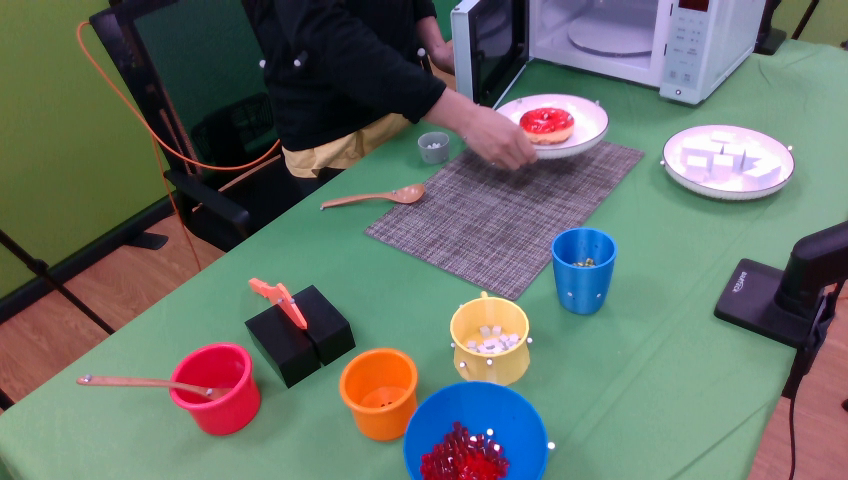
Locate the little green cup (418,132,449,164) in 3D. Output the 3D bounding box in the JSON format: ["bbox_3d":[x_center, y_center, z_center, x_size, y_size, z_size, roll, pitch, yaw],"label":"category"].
[{"bbox_3d":[0.019,-0.177,1.168,0.061,0.039,0.061,-2,42,3],"label":"little green cup"}]

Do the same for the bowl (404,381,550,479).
[{"bbox_3d":[0.058,0.235,0.645,0.151,0.077,0.150,-4,39,4],"label":"bowl"}]

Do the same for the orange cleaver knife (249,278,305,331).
[{"bbox_3d":[-0.210,0.088,0.856,0.012,0.077,0.210,-28,15,-25],"label":"orange cleaver knife"}]

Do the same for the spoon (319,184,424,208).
[{"bbox_3d":[-0.094,-0.076,1.074,0.193,0.022,0.041,-5,55,5],"label":"spoon"}]

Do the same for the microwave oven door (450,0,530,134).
[{"bbox_3d":[0.146,-0.412,1.240,0.039,0.245,0.356,13,44,23],"label":"microwave oven door"}]

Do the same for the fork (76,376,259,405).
[{"bbox_3d":[-0.295,0.176,0.716,0.209,0.018,0.028,19,26,-36],"label":"fork"}]

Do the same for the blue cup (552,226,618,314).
[{"bbox_3d":[0.218,0.047,0.826,0.092,0.101,0.092,-6,40,5],"label":"blue cup"}]

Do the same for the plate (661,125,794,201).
[{"bbox_3d":[0.513,-0.128,1.035,0.207,0.039,0.206,-4,40,4],"label":"plate"}]

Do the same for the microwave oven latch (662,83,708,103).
[{"bbox_3d":[0.518,-0.296,1.204,0.078,0.029,0.030,28,52,35],"label":"microwave oven latch"}]

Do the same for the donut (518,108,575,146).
[{"bbox_3d":[0.213,-0.198,1.054,0.099,0.048,0.098,-5,35,4],"label":"donut"}]

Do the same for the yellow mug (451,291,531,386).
[{"bbox_3d":[0.085,0.120,0.786,0.100,0.064,0.130,-7,39,1],"label":"yellow mug"}]

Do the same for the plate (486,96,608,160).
[{"bbox_3d":[0.215,-0.193,1.065,0.209,0.038,0.208,-4,37,4],"label":"plate"}]

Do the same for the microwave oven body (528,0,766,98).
[{"bbox_3d":[0.472,-0.513,1.317,0.438,0.261,0.327,26,51,34],"label":"microwave oven body"}]
